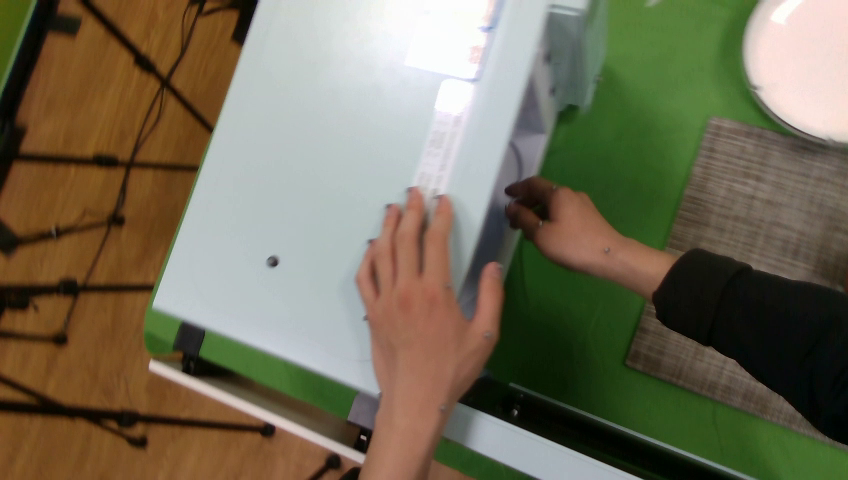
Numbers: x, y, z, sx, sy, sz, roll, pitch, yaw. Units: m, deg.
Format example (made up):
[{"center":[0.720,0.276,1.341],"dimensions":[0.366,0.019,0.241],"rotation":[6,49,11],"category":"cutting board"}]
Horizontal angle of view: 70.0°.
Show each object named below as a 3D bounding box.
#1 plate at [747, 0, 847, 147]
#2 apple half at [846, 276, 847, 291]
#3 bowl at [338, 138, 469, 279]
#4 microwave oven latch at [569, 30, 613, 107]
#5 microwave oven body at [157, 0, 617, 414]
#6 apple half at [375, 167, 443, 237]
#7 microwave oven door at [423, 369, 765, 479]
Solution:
[{"center":[0.460,-0.198,0.655],"dimensions":[0.207,0.039,0.207],"rotation":[-2,82,14],"category":"plate"},{"center":[0.451,0.043,0.600],"dimensions":[0.053,0.075,0.080],"rotation":[-1,85,19],"category":"apple half"},{"center":[-0.011,-0.032,0.675],"dimensions":[0.151,0.077,0.151],"rotation":[0,89,23],"category":"bowl"},{"center":[0.194,-0.198,0.704],"dimensions":[0.030,0.029,0.079],"rotation":[24,89,16],"category":"microwave oven latch"},{"center":[-0.023,-0.089,0.644],"dimensions":[0.324,0.261,0.441],"rotation":[19,88,16],"category":"microwave oven body"},{"center":[-0.019,-0.039,0.664],"dimensions":[0.081,0.033,0.081],"rotation":[2,98,17],"category":"apple half"},{"center":[0.192,0.204,0.543],"dimensions":[0.354,0.245,0.039],"rotation":[18,87,16],"category":"microwave oven door"}]
